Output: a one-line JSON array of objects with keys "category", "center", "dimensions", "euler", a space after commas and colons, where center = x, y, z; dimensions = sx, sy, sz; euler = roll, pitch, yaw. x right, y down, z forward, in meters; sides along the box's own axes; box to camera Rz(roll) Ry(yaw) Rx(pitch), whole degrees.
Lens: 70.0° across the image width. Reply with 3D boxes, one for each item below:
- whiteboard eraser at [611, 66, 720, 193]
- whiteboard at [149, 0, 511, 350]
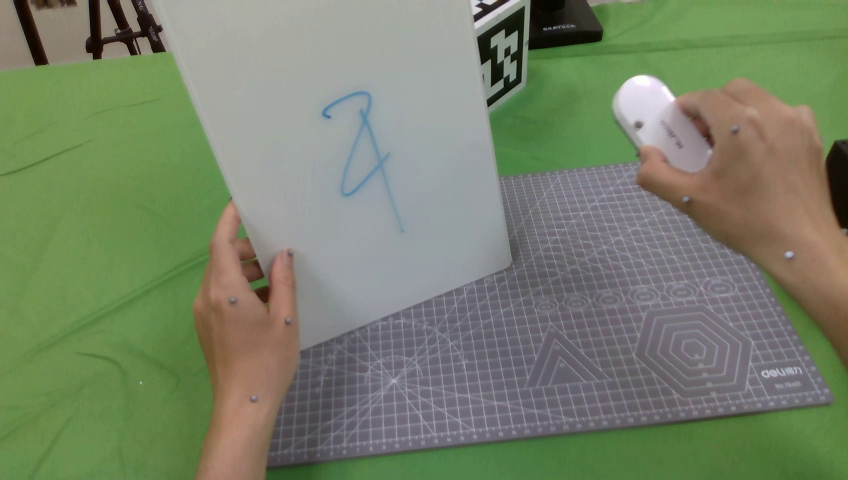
[{"category": "whiteboard eraser", "center": [0.173, -0.080, 0.436], "dimensions": [0.041, 0.019, 0.101], "euler": [-33, 86, -11]}, {"category": "whiteboard", "center": [-0.071, -0.100, 0.530], "dimensions": [0.217, 0.308, 0.142], "euler": [-21, 30, -13]}]
